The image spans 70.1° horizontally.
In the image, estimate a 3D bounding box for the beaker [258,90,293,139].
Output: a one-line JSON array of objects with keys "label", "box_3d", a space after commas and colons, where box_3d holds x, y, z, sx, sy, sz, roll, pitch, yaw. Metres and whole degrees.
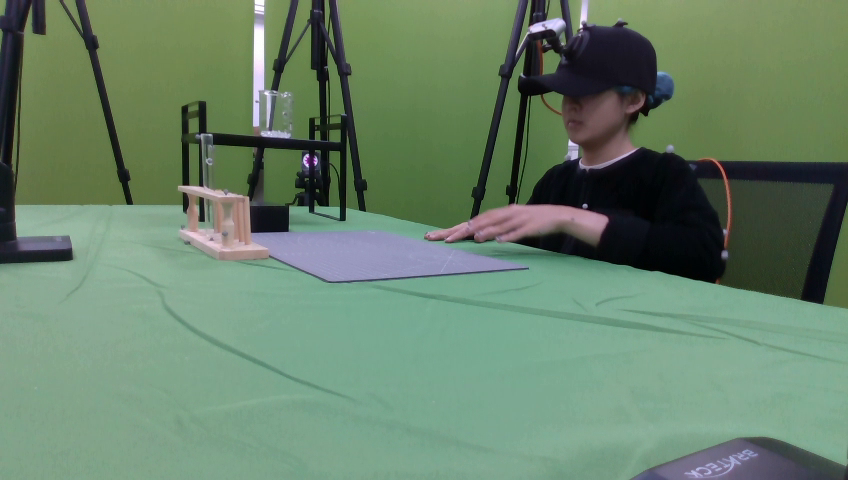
[{"label": "beaker", "box_3d": [-0.324, -0.274, 1.326, 0.074, 0.100, 0.083, -2, 10, -33]}]

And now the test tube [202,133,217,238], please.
[{"label": "test tube", "box_3d": [-0.307, -0.078, 0.868, 0.017, 0.150, 0.017, 1, 10, 0]}]

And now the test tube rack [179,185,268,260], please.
[{"label": "test tube rack", "box_3d": [-0.303, -0.031, 0.898, 0.067, 0.085, 0.241, -2, 9, -33]}]
